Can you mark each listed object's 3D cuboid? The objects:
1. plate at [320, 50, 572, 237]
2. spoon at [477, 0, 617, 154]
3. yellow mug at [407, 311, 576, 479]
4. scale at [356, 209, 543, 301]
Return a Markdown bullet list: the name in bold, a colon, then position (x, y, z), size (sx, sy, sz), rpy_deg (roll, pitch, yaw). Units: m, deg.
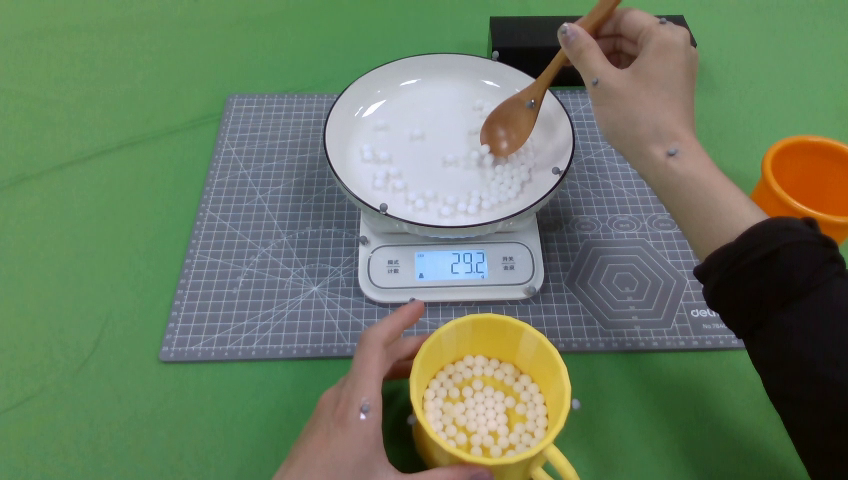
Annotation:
- **plate**: position (0.018, -0.083, 0.513), size (0.209, 0.038, 0.207), rpy_deg (1, 54, -1)
- **spoon**: position (0.101, -0.136, 0.452), size (0.022, 0.194, 0.041), rpy_deg (-18, 67, -44)
- **yellow mug**: position (0.050, 0.115, 0.393), size (0.100, 0.064, 0.129), rpy_deg (-36, 63, -22)
- **scale**: position (0.018, -0.040, 0.522), size (0.149, 0.032, 0.199), rpy_deg (-1, 54, -1)
